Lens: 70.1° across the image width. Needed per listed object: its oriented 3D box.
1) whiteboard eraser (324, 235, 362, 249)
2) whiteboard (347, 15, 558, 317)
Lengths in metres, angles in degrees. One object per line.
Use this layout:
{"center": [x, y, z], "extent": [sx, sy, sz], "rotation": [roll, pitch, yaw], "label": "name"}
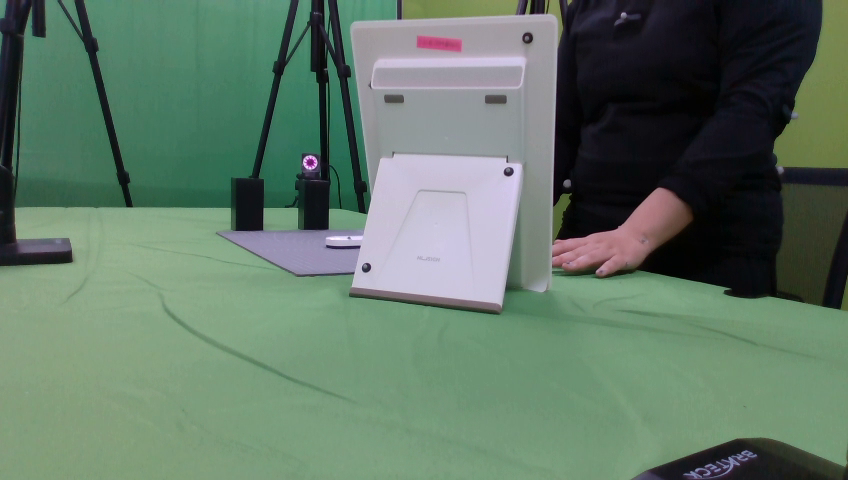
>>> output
{"center": [-0.112, 0.002, 0.974], "extent": [0.102, 0.019, 0.041], "rotation": [-1, 7, -32], "label": "whiteboard eraser"}
{"center": [0.012, -0.056, 0.609], "extent": [0.216, 0.305, 0.144], "rotation": [5, 27, 19], "label": "whiteboard"}
